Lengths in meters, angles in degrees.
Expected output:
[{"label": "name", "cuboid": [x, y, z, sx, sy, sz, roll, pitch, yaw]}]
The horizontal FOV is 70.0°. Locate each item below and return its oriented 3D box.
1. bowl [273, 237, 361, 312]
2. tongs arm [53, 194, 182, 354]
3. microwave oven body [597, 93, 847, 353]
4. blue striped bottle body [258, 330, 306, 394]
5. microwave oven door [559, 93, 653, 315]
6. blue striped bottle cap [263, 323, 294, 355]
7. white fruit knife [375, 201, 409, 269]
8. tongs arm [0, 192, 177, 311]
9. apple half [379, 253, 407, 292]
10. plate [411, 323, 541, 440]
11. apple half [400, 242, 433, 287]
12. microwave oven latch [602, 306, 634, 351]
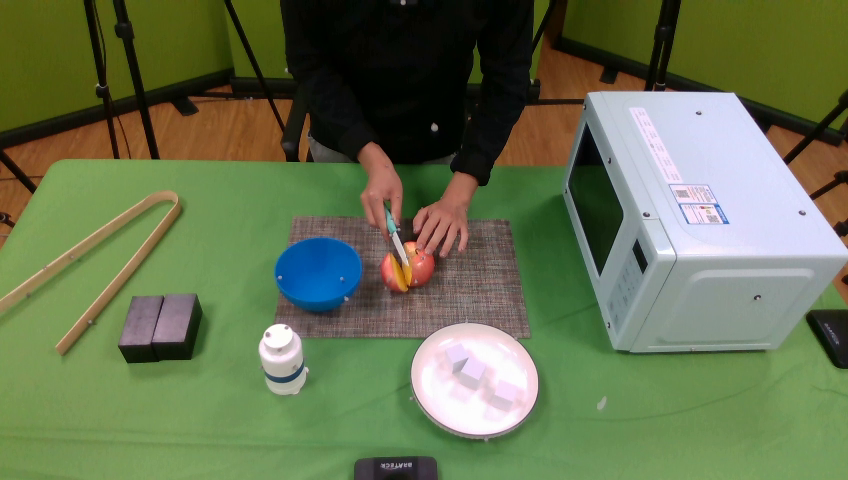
[{"label": "bowl", "cuboid": [-0.186, 0.074, 1.069, 0.151, 0.077, 0.150, 3, 46, -3]}, {"label": "tongs arm", "cuboid": [-0.543, 0.048, 1.107, 0.028, 0.028, 0.385, 11, 45, 10]}, {"label": "microwave oven body", "cuboid": [0.475, -0.041, 1.109, 0.326, 0.261, 0.438, -1, 45, -4]}, {"label": "blue striped bottle body", "cuboid": [-0.220, 0.182, 0.937, 0.063, 0.121, 0.062, 2, 46, -2]}, {"label": "microwave oven door", "cuboid": [0.327, -0.074, 1.123, 0.039, 0.245, 0.353, -1, 46, -5]}, {"label": "blue striped bottle cap", "cuboid": [-0.217, 0.146, 0.900, 0.044, 0.021, 0.044, 1, 46, -1]}, {"label": "white fruit knife", "cuboid": [-0.058, -0.014, 1.110, 0.016, 0.027, 0.206, -2, 37, -22]}, {"label": "tongs arm", "cuboid": [-0.618, 0.019, 1.123, 0.050, 0.026, 0.384, 23, 47, 17]}, {"label": "apple half", "cuboid": [-0.061, 0.066, 1.101, 0.033, 0.082, 0.080, -23, 47, 6]}, {"label": "plate", "cuboid": [0.082, 0.228, 0.976, 0.208, 0.039, 0.206, 2, 45, -2]}, {"label": "apple half", "cuboid": [-0.011, 0.046, 1.117, 0.053, 0.075, 0.080, -3, 41, -17]}, {"label": "microwave oven latch", "cuboid": [0.332, 0.153, 1.044, 0.030, 0.029, 0.078, 0, 45, -4]}]
